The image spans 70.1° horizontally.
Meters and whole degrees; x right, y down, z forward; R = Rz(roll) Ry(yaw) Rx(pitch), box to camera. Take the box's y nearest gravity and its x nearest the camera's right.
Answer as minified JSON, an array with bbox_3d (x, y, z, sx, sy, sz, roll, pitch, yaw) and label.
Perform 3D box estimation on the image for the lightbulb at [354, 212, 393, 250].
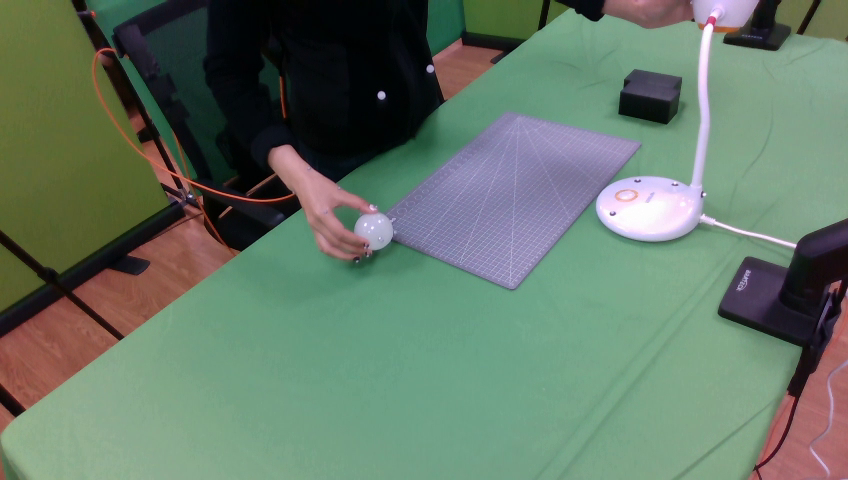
[{"bbox_3d":[-0.074,-0.013,0.954,0.059,0.059,0.108,-1,-1,10],"label":"lightbulb"}]

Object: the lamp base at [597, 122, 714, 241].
[{"bbox_3d":[0.363,-0.109,0.921,0.178,0.181,0.160,13,45,21],"label":"lamp base"}]

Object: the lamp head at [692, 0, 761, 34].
[{"bbox_3d":[0.437,-0.362,0.871,0.112,0.123,0.112,2,27,0],"label":"lamp head"}]
